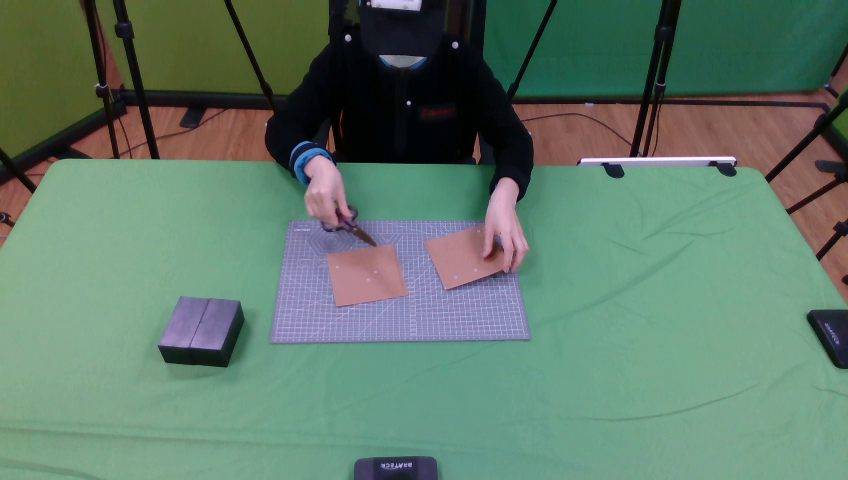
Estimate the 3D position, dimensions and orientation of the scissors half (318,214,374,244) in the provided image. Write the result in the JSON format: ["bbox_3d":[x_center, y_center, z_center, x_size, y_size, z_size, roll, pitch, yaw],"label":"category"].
[{"bbox_3d":[-0.142,-0.017,1.103,0.040,0.013,0.174,-38,37,-28],"label":"scissors half"}]

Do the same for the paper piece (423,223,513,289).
[{"bbox_3d":[0.082,0.027,1.172,0.138,0.009,0.135,-16,49,-9],"label":"paper piece"}]

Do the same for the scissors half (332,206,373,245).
[{"bbox_3d":[-0.126,-0.027,1.110,0.040,0.013,0.174,-32,35,-11],"label":"scissors half"}]

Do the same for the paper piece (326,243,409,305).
[{"bbox_3d":[-0.108,0.061,1.135,0.136,0.004,0.134,-8,47,-12],"label":"paper piece"}]
